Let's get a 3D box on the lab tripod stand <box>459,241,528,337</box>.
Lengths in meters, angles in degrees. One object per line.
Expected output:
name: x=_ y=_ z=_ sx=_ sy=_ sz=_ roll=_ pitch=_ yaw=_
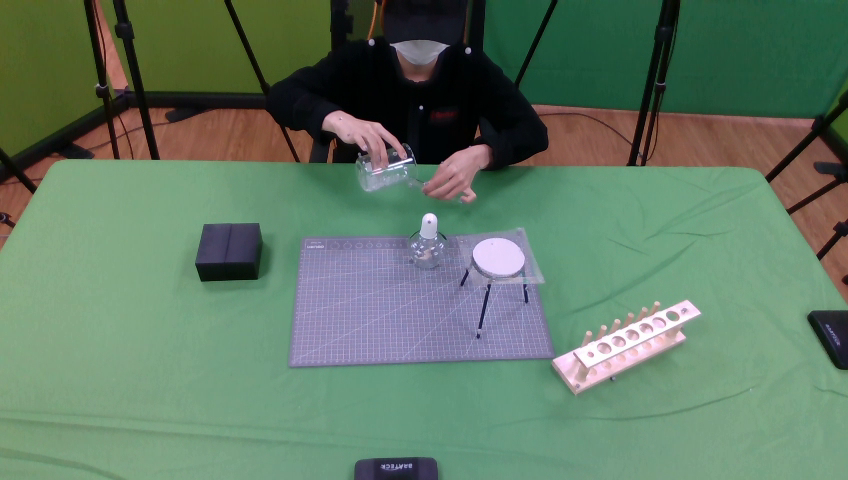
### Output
lab tripod stand: x=0.122 y=0.075 z=1.054 sx=0.148 sy=0.132 sz=0.147 roll=3 pitch=44 yaw=-3

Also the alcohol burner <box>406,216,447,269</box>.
alcohol burner: x=0.006 y=-0.003 z=1.134 sx=0.078 sy=0.120 sz=0.077 roll=2 pitch=48 yaw=-2

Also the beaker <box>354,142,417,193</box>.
beaker: x=-0.074 y=-0.131 z=1.135 sx=0.100 sy=0.084 sz=0.073 roll=-19 pitch=43 yaw=-18

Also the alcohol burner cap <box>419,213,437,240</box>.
alcohol burner cap: x=0.009 y=-0.027 z=1.109 sx=0.034 sy=0.048 sz=0.033 roll=3 pitch=44 yaw=-3

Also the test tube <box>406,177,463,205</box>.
test tube: x=0.024 y=-0.098 z=1.220 sx=0.151 sy=0.017 sz=0.017 roll=18 pitch=34 yaw=-39

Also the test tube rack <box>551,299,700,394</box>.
test tube rack: x=0.339 y=0.166 z=1.021 sx=0.242 sy=0.085 sz=0.066 roll=-19 pitch=50 yaw=-21

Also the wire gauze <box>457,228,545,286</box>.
wire gauze: x=0.126 y=0.029 z=1.006 sx=0.125 sy=0.011 sz=0.120 roll=-4 pitch=46 yaw=-10
